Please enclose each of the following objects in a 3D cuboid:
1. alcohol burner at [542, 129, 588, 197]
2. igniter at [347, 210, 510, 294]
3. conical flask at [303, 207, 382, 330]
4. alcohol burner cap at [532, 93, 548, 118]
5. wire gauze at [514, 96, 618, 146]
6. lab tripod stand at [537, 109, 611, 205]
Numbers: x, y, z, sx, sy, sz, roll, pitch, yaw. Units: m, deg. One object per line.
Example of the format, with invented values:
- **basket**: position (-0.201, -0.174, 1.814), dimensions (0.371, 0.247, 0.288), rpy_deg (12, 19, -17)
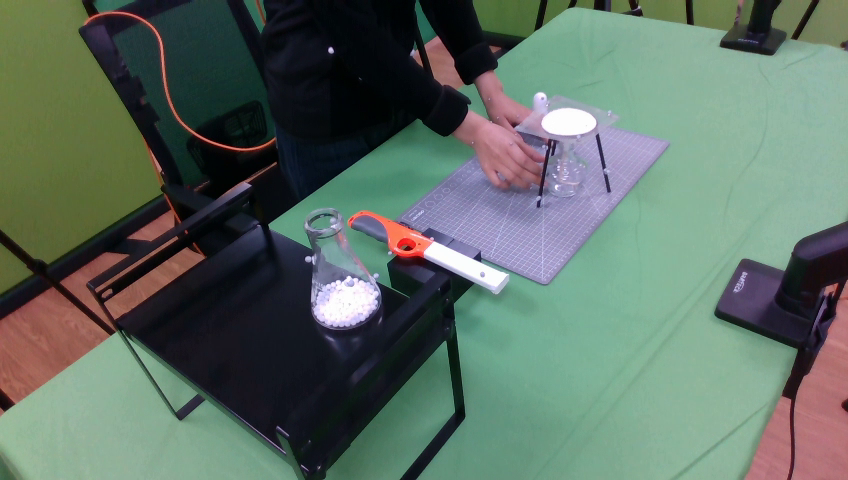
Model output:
- **alcohol burner**: position (0.239, -0.133, 1.021), dimensions (0.078, 0.119, 0.077), rpy_deg (-4, 39, 4)
- **igniter**: position (-0.002, 0.012, 0.884), dimensions (0.274, 0.025, 0.057), rpy_deg (24, 53, 28)
- **conical flask**: position (-0.088, 0.025, 0.601), dimensions (0.075, 0.122, 0.075), rpy_deg (-5, 40, 5)
- **alcohol burner cap**: position (0.240, -0.281, 1.251), dimensions (0.034, 0.048, 0.033), rpy_deg (-4, 42, 4)
- **wire gauze**: position (0.229, -0.190, 0.969), dimensions (0.120, 0.011, 0.125), rpy_deg (26, 50, 33)
- **lab tripod stand**: position (0.244, -0.141, 1.014), dimensions (0.148, 0.132, 0.147), rpy_deg (-3, 39, 3)
